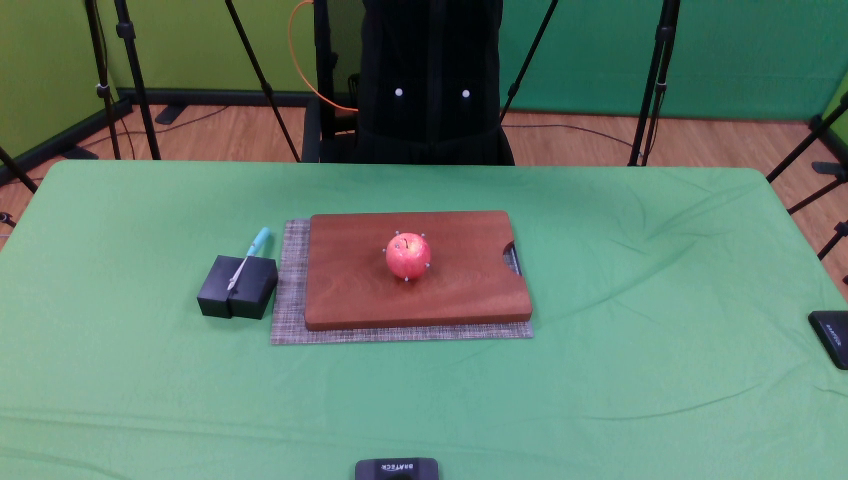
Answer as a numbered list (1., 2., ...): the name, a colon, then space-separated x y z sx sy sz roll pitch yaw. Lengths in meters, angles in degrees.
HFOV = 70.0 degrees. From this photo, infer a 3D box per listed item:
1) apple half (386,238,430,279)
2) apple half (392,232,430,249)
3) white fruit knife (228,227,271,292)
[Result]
1. apple half: -0.032 0.039 1.084 0.081 0.075 0.053 11 50 1
2. apple half: -0.025 0.010 1.110 0.081 0.081 0.032 8 50 4
3. white fruit knife: -0.318 0.031 1.107 0.016 0.027 0.206 5 32 3
